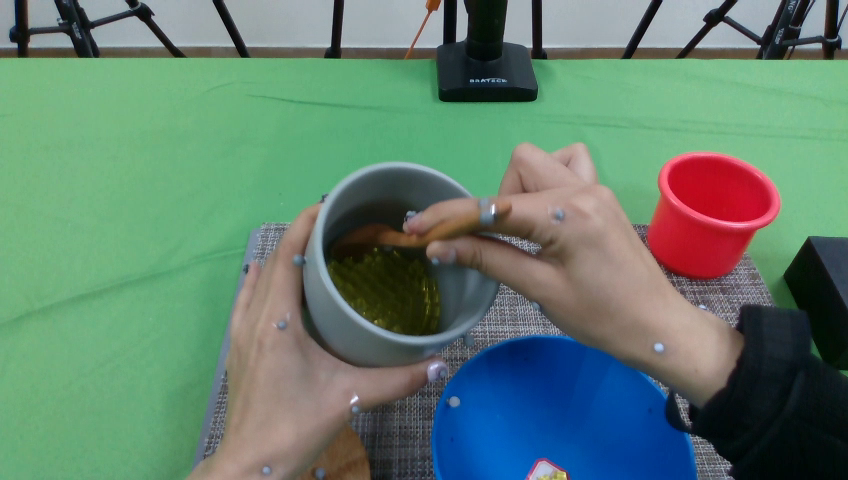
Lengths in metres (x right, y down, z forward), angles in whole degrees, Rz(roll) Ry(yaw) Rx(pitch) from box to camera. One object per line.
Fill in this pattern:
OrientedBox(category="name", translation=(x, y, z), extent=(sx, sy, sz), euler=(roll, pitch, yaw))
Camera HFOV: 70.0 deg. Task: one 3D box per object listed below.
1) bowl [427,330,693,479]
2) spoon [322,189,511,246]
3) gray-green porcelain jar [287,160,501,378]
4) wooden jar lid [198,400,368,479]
OrientedBox(category="bowl", translation=(0.076, 0.138, 0.374), extent=(0.151, 0.077, 0.150), euler=(1, 47, -1))
OrientedBox(category="spoon", translation=(-0.010, -0.009, 0.336), extent=(0.042, 0.021, 0.192), euler=(-4, 1, -30))
OrientedBox(category="gray-green porcelain jar", translation=(-0.027, 0.026, 0.375), extent=(0.106, 0.127, 0.105), euler=(8, 66, -18))
OrientedBox(category="wooden jar lid", translation=(-0.090, 0.156, 0.392), extent=(0.108, 0.021, 0.107), euler=(0, 46, 0))
